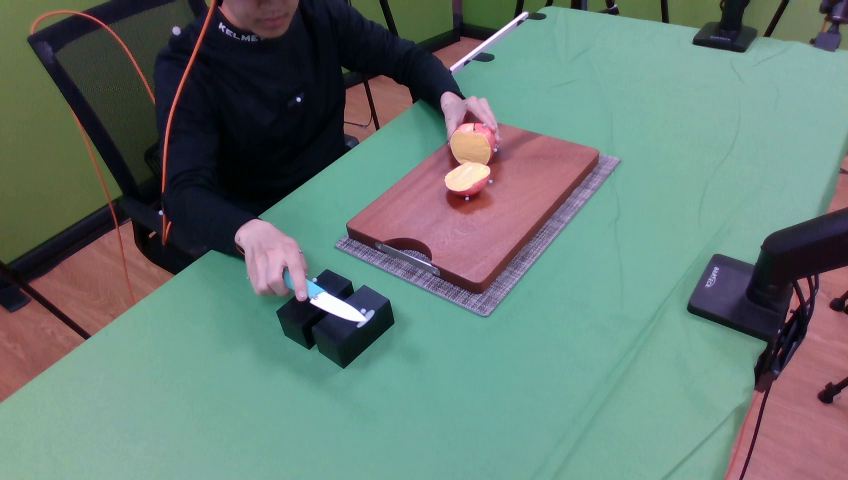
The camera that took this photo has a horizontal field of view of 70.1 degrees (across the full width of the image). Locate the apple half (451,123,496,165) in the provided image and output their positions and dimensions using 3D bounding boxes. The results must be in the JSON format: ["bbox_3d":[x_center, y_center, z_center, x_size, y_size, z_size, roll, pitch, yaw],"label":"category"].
[{"bbox_3d":[0.093,-0.173,1.074,0.080,0.075,0.053,10,40,25],"label":"apple half"}]

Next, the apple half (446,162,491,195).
[{"bbox_3d":[0.076,-0.098,1.020,0.081,0.033,0.081,-16,35,12],"label":"apple half"}]

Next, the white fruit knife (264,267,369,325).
[{"bbox_3d":[-0.146,0.074,0.811,0.205,0.016,0.027,20,68,37],"label":"white fruit knife"}]
